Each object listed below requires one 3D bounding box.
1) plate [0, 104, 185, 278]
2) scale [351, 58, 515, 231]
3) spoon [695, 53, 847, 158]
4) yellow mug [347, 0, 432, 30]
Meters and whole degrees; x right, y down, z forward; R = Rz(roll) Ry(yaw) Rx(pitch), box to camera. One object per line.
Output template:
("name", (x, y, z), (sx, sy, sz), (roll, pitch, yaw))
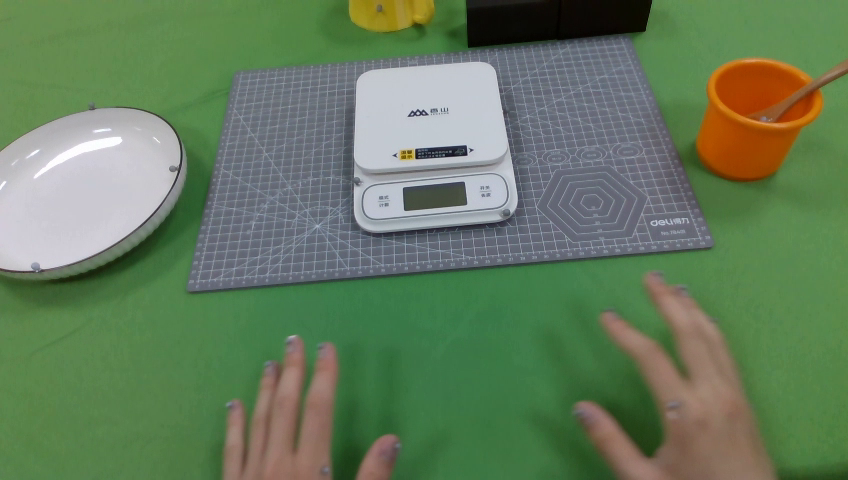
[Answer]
("plate", (-0.329, -0.047, 0.577), (0.209, 0.038, 0.207), (-2, 54, 3))
("scale", (0.004, -0.099, 0.585), (0.148, 0.032, 0.199), (-5, 54, 2))
("spoon", (0.322, -0.127, 0.509), (0.022, 0.194, 0.041), (21, 48, -36))
("yellow mug", (-0.038, -0.302, 0.722), (0.129, 0.064, 0.100), (37, 65, 27))
